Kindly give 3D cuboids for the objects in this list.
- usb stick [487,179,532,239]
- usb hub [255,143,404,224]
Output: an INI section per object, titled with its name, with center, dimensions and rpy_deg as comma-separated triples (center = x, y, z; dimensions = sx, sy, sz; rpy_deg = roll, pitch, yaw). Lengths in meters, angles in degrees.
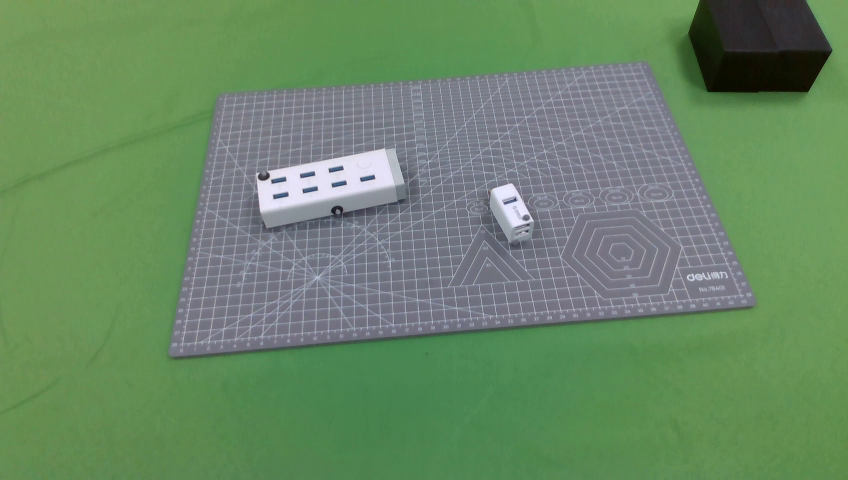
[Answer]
[usb stick]
center = 0.070, -0.031, 0.513
dimensions = 0.021, 0.027, 0.058
rpy_deg = -18, 53, -8
[usb hub]
center = -0.083, -0.051, 0.534
dimensions = 0.125, 0.025, 0.049
rpy_deg = -12, 54, -7
